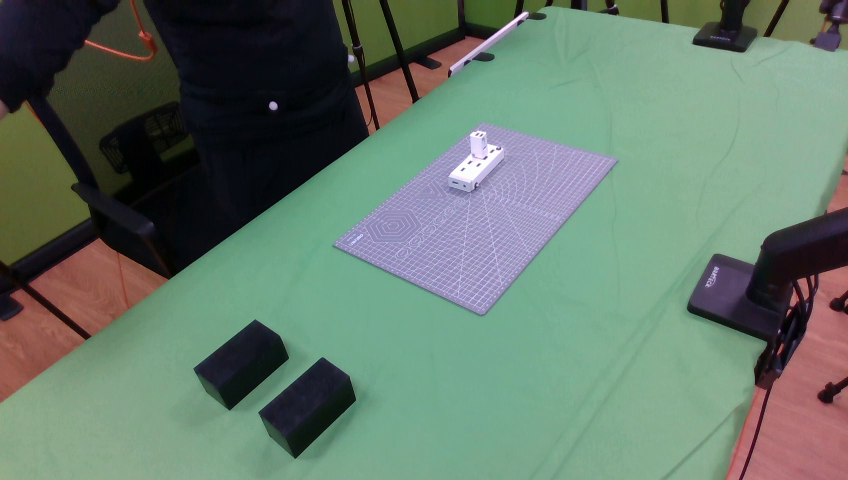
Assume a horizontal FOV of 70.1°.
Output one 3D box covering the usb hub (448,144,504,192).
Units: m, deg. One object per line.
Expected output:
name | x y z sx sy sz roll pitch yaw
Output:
usb hub | 0.097 -0.133 1.105 0.049 0.025 0.125 20 48 28

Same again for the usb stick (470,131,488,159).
usb stick | 0.100 -0.166 1.100 0.027 0.059 0.021 18 46 25
